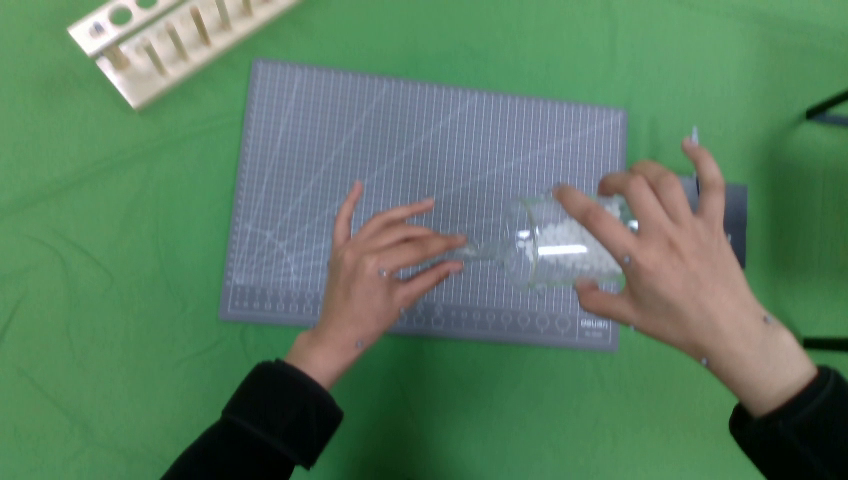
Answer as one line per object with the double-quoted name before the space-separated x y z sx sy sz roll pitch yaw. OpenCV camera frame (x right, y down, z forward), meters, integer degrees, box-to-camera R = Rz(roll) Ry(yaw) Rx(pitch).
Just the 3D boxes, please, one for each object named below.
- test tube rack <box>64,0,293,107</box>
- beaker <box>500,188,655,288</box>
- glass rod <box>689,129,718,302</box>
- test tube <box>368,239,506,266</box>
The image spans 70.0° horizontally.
"test tube rack" -0.239 -0.250 0.644 0.242 0.085 0.067 -40 89 -11
"beaker" 0.116 -0.002 0.470 0.100 0.084 0.074 -2 83 -12
"glass rod" 0.319 -0.029 0.690 0.008 0.008 0.199 -4 84 -9
"test tube" 0.007 0.012 0.542 0.017 0.149 0.017 9 78 -51
